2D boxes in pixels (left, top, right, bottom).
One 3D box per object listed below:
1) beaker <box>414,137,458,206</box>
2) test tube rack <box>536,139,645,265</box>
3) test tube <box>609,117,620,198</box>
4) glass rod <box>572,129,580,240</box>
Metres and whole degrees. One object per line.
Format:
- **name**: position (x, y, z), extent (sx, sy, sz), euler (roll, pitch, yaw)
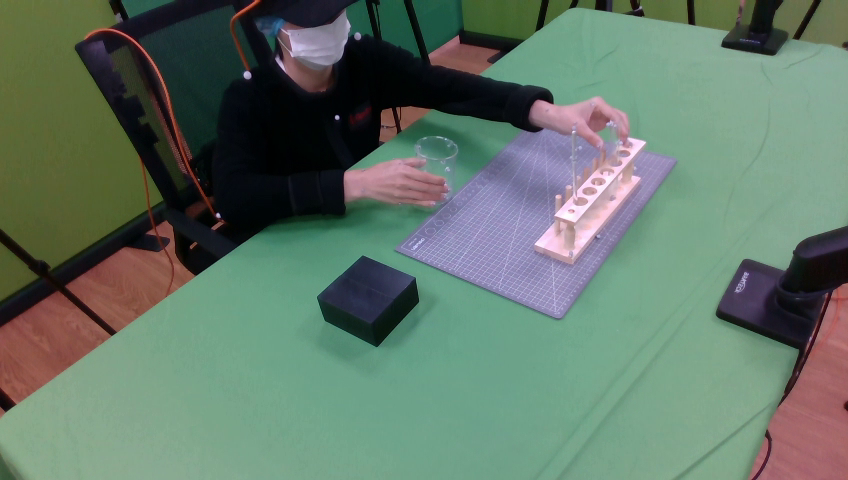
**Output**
- **beaker**: position (0.020, -0.116, 1.036), extent (0.073, 0.100, 0.084), euler (30, 46, 27)
- **test tube rack**: position (0.268, -0.071, 0.964), extent (0.066, 0.085, 0.243), euler (23, 49, 32)
- **test tube**: position (0.298, -0.125, 0.946), extent (0.017, 0.151, 0.017), euler (-8, 42, 8)
- **glass rod**: position (0.220, -0.074, 0.871), extent (0.008, 0.201, 0.008), euler (-8, 42, 8)
